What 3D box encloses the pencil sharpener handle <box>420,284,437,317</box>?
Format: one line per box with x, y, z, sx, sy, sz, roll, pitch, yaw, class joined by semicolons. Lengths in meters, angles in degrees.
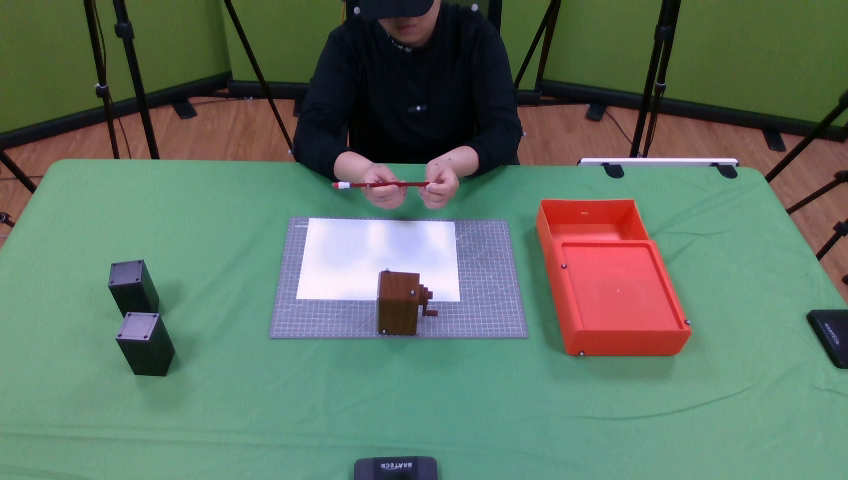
0.009;0.104;1.017;0.030;0.068;0.036;3;40;-2;pencil sharpener handle

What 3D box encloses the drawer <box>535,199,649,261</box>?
0.332;0.015;1.169;0.195;0.073;0.210;0;46;-5;drawer

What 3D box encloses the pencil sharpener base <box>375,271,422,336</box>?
-0.043;0.109;1.025;0.077;0.107;0.061;3;45;-2;pencil sharpener base

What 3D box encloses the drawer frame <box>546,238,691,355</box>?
0.338;0.097;1.086;0.202;0.083;0.212;0;46;-4;drawer frame

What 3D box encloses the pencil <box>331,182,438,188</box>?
-0.071;-0.101;1.105;0.194;0.012;0.012;-1;46;-7;pencil
